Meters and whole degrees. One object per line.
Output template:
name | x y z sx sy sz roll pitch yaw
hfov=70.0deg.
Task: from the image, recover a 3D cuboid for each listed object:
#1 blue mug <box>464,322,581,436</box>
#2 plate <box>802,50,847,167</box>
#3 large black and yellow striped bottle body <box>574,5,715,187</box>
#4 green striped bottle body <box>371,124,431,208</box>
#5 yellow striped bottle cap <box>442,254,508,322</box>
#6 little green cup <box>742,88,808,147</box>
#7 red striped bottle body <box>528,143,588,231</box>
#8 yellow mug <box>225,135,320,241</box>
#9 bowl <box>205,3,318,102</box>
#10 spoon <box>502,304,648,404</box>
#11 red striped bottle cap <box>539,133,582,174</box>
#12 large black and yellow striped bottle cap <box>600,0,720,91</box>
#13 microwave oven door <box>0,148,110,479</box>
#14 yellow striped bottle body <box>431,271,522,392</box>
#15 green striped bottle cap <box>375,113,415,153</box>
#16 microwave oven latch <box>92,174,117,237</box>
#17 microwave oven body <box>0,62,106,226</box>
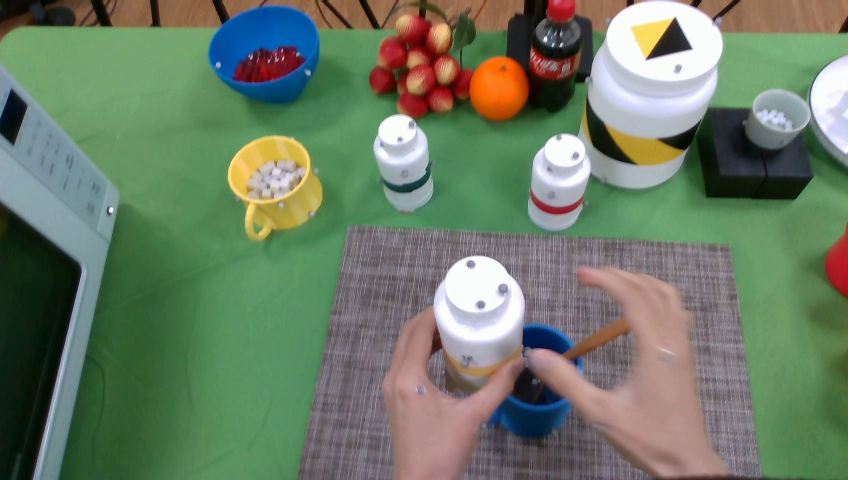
blue mug | 0.089 0.145 0.582 0.116 0.107 0.081 -30 62 -11
plate | 0.571 -0.150 0.742 0.209 0.038 0.207 -2 62 4
large black and yellow striped bottle body | 0.249 -0.162 0.694 0.131 0.185 0.129 -2 61 4
green striped bottle body | -0.027 -0.094 0.719 0.063 0.120 0.062 -2 61 4
yellow striped bottle cap | 0.033 0.031 0.398 0.044 0.019 0.044 -2 55 3
little green cup | 0.398 -0.138 0.693 0.061 0.039 0.061 -1 59 2
red striped bottle body | 0.151 -0.066 0.688 0.063 0.121 0.062 -3 60 6
yellow mug | -0.190 -0.058 0.745 0.099 0.064 0.130 12 64 12
bowl | -0.214 -0.247 0.843 0.151 0.077 0.150 -2 61 4
spoon | 0.126 0.108 0.549 0.022 0.194 0.041 6 54 -33
red striped bottle cap | 0.145 -0.092 0.642 0.044 0.018 0.044 0 60 0
large black and yellow striped bottle cap | 0.240 -0.201 0.620 0.115 0.019 0.114 -2 60 5
microwave oven door | -0.402 0.101 0.557 0.039 0.246 0.352 -5 61 3
yellow striped bottle body | 0.039 0.060 0.440 0.063 0.121 0.062 -3 55 5
green striped bottle cap | -0.033 -0.120 0.673 0.044 0.020 0.044 -1 61 3
microwave oven latch | -0.403 -0.042 0.750 0.030 0.030 0.078 -4 62 3
microwave oven body | -0.549 0.079 0.587 0.326 0.262 0.437 -5 62 2
